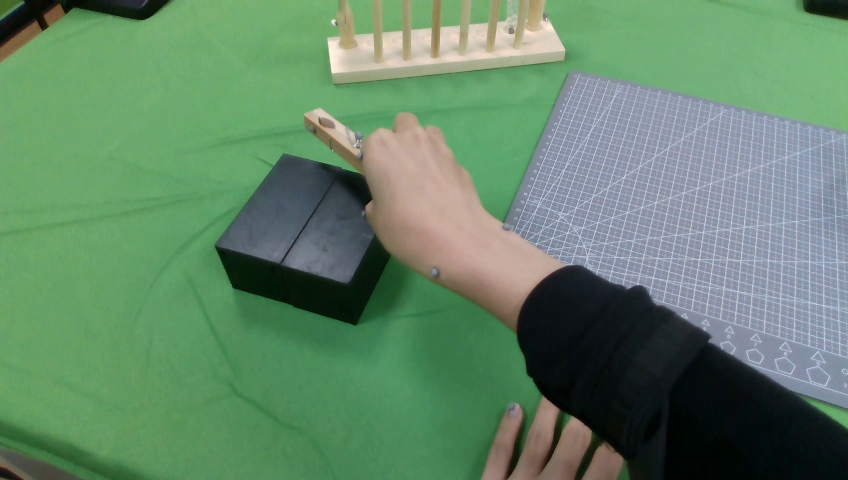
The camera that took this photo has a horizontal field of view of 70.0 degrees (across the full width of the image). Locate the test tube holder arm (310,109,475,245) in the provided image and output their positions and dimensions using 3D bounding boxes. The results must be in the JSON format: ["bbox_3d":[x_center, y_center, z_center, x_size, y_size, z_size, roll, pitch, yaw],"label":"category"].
[{"bbox_3d":[-0.028,-0.049,0.422,0.013,0.015,0.176,-36,54,-24],"label":"test tube holder arm"}]

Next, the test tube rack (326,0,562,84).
[{"bbox_3d":[0.020,-0.226,0.615,0.243,0.086,0.066,-8,51,-6],"label":"test tube rack"}]

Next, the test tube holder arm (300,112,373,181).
[{"bbox_3d":[-0.062,-0.069,0.444,0.010,0.015,0.087,-35,54,-24],"label":"test tube holder arm"}]

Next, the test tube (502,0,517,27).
[{"bbox_3d":[0.085,-0.281,0.596,0.017,0.152,0.017,-3,48,4],"label":"test tube"}]
